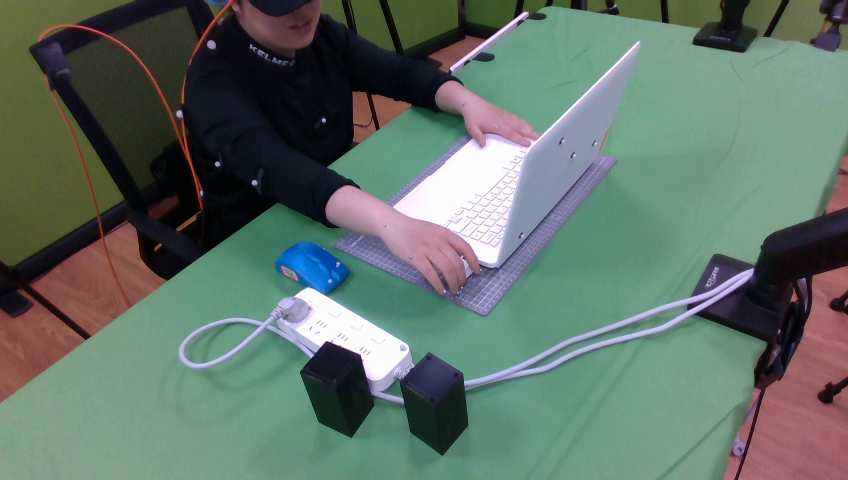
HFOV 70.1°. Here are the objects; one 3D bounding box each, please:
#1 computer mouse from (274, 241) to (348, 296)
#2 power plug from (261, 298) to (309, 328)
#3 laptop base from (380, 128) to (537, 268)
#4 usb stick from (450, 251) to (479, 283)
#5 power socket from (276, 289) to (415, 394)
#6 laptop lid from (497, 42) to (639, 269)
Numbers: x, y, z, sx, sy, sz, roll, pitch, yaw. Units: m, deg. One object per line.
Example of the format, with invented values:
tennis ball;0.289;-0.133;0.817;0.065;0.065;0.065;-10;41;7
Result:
computer mouse;-0.176;0.040;0.935;0.116;0.041;0.063;27;49;27
power plug;-0.192;0.107;0.831;0.073;0.053;0.035;-32;43;-25
laptop base;0.119;-0.088;1.058;0.233;0.023;0.355;19;47;33
usb stick;0.065;0.036;0.900;0.021;0.027;0.059;26;47;34
power socket;-0.114;0.133;0.820;0.225;0.033;0.072;25;49;33
laptop lid;0.221;-0.130;0.913;0.013;0.242;0.357;31;51;21
